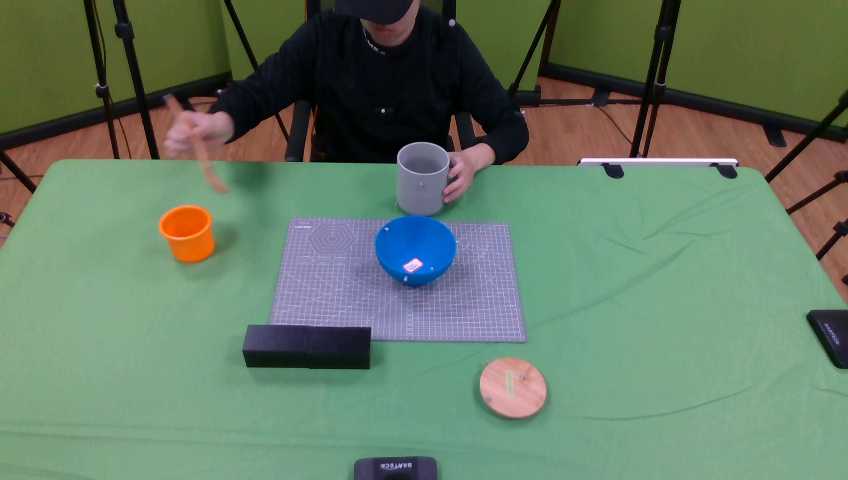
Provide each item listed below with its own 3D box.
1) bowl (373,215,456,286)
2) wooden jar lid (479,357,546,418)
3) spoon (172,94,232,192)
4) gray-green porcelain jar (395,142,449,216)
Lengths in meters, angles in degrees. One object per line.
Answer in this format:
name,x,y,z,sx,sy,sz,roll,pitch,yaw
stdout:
bowl,-0.019,0.032,1.122,0.151,0.077,0.150,2,46,-2
wooden jar lid,0.142,0.240,0.979,0.108,0.021,0.107,1,46,-1
spoon,-0.390,-0.169,1.064,0.021,0.194,0.041,-24,5,4
gray-green porcelain jar,-0.007,-0.120,1.241,0.106,0.127,0.105,2,46,-2
